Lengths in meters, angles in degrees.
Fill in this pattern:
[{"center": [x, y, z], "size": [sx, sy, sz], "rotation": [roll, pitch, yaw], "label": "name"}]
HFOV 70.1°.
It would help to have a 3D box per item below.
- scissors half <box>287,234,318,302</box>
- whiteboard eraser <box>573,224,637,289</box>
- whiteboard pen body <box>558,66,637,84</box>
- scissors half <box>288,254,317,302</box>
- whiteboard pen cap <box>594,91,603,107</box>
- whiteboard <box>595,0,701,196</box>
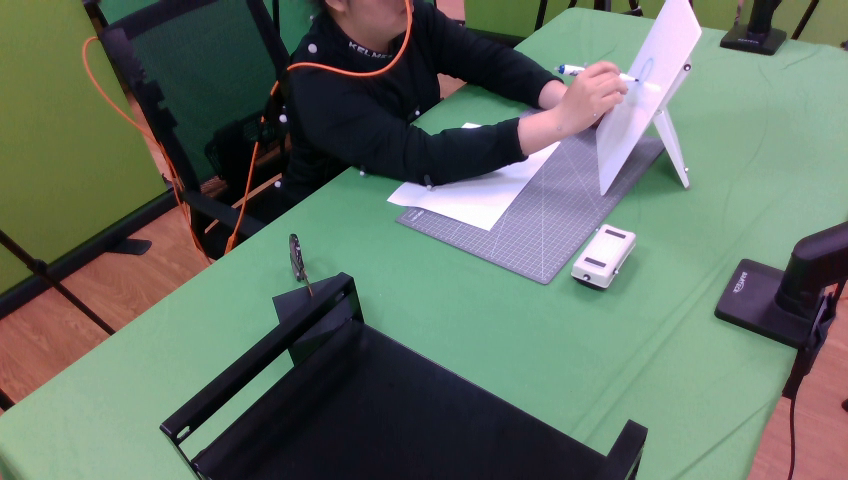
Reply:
[{"center": [-0.178, 0.040, 0.885], "size": [0.013, 0.040, 0.173], "rotation": [-10, 36, -21], "label": "scissors half"}, {"center": [0.267, 0.026, 0.891], "size": [0.055, 0.042, 0.113], "rotation": [19, 47, 31], "label": "whiteboard eraser"}, {"center": [0.293, -0.275, 1.013], "size": [0.141, 0.017, 0.017], "rotation": [5, 39, -10], "label": "whiteboard pen body"}, {"center": [-0.178, 0.058, 0.894], "size": [0.013, 0.040, 0.174], "rotation": [-14, 20, -19], "label": "scissors half"}, {"center": [0.364, -0.293, 1.262], "size": [0.018, 0.033, 0.018], "rotation": [-5, 41, 5], "label": "whiteboard pen cap"}, {"center": [0.421, -0.227, 1.010], "size": [0.144, 0.305, 0.216], "rotation": [18, 42, -2], "label": "whiteboard"}]
